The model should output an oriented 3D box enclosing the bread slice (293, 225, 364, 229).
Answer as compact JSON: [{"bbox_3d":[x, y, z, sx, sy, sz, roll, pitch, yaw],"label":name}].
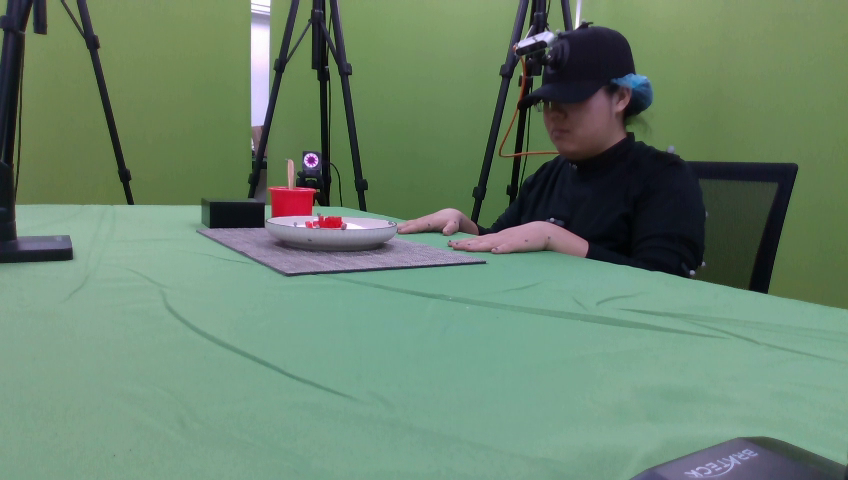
[{"bbox_3d":[-0.154,-0.012,0.973,0.132,0.019,0.104,-1,7,-31],"label":"bread slice"}]

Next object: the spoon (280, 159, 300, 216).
[{"bbox_3d":[-0.281,-0.108,1.276,0.042,0.021,0.193,-1,52,-10],"label":"spoon"}]

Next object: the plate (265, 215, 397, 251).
[{"bbox_3d":[-0.147,-0.012,0.963,0.209,0.038,0.209,3,7,0],"label":"plate"}]
